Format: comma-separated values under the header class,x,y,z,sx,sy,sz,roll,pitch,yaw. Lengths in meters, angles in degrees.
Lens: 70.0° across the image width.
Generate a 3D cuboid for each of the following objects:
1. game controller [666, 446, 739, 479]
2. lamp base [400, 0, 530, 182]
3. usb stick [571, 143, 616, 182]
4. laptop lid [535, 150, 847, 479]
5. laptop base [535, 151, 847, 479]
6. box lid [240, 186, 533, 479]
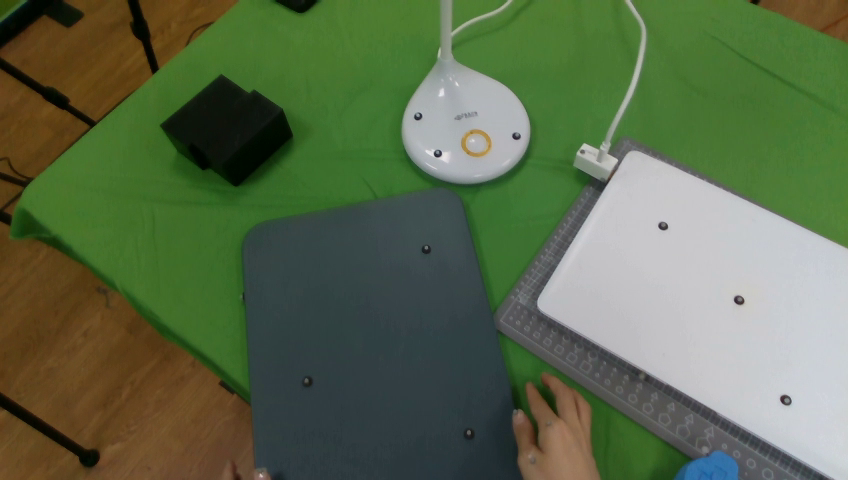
class,x,y,z,sx,sy,sz,roll,pitch,yaw
game controller,0.284,0.254,0.530,0.154,0.052,0.097,32,67,17
lamp base,0.041,-0.185,0.688,0.161,0.182,0.177,-24,62,-10
usb stick,0.204,-0.087,0.707,0.059,0.027,0.021,33,64,14
laptop lid,0.322,0.063,0.627,0.354,0.013,0.241,31,71,17
laptop base,0.324,0.066,0.639,0.352,0.023,0.235,30,72,16
box lid,-0.054,0.115,0.636,0.263,0.015,0.368,-11,64,-3
